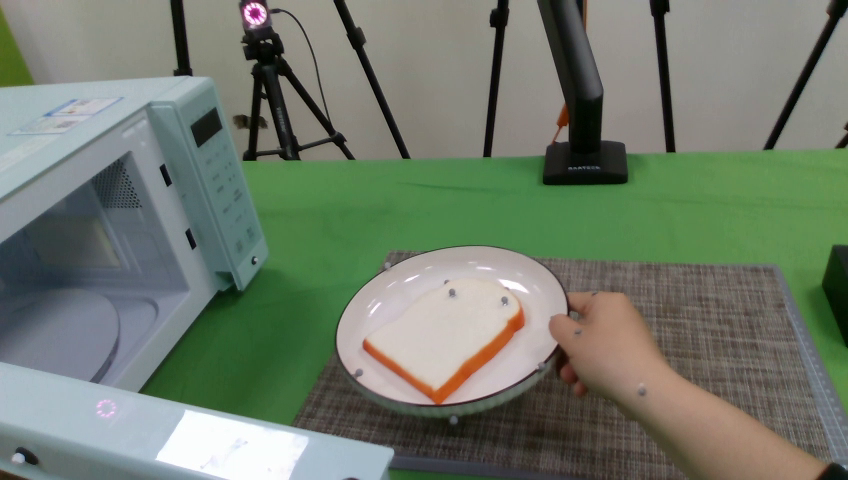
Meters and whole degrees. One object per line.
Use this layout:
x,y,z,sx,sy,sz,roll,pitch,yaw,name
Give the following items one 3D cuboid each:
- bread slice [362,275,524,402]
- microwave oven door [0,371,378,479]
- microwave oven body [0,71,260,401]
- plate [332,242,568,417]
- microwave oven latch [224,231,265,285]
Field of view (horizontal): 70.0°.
0.021,0.078,0.544,0.131,0.019,0.104,-36,40,-28,bread slice
-0.164,0.166,0.331,0.354,0.246,0.039,5,36,20,microwave oven door
-0.419,0.038,0.594,0.325,0.262,0.438,1,35,13,microwave oven body
0.023,0.076,0.539,0.209,0.038,0.207,-10,33,7,plate
-0.226,0.021,0.755,0.030,0.030,0.078,2,35,14,microwave oven latch
